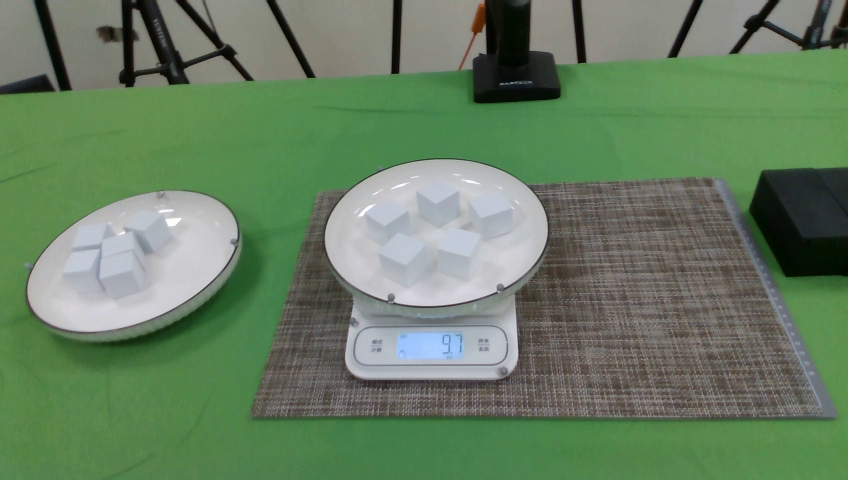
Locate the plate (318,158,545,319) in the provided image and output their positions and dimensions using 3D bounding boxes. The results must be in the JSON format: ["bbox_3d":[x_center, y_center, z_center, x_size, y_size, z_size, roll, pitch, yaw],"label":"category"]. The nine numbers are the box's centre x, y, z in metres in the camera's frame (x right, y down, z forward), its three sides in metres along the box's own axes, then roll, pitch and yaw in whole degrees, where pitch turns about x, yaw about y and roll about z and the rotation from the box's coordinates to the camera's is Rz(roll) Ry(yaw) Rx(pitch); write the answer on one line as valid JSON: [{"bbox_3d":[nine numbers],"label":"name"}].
[{"bbox_3d":[0.007,-0.002,0.567,0.207,0.039,0.205,-2,43,3],"label":"plate"}]

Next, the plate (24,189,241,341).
[{"bbox_3d":[-0.289,0.025,0.620,0.209,0.038,0.207,-3,42,3],"label":"plate"}]

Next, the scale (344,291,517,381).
[{"bbox_3d":[0.009,0.041,0.568,0.148,0.032,0.199,-1,43,6],"label":"scale"}]
